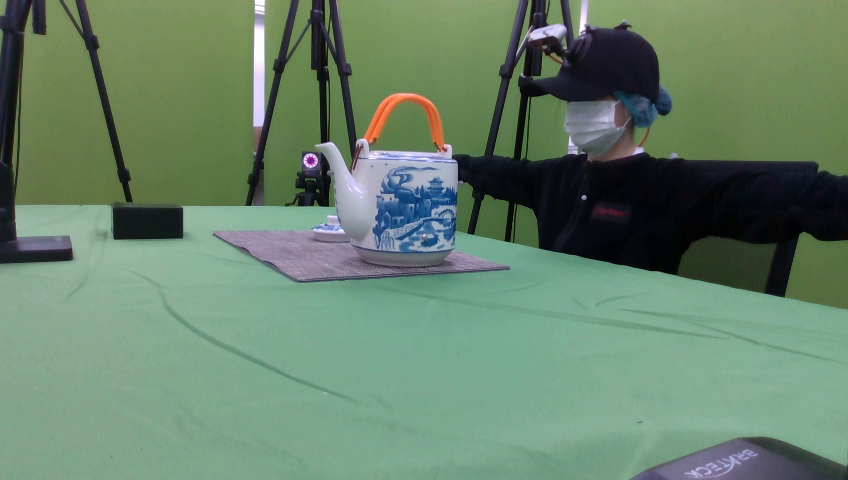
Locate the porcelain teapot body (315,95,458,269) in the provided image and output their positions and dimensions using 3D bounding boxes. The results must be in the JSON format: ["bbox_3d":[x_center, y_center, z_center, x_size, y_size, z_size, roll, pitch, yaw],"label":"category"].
[{"bbox_3d":[-0.049,-0.079,0.800,0.206,0.225,0.144,-3,9,-37],"label":"porcelain teapot body"}]

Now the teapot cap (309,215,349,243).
[{"bbox_3d":[-0.151,-0.020,1.014,0.085,0.044,0.085,3,10,0],"label":"teapot cap"}]
